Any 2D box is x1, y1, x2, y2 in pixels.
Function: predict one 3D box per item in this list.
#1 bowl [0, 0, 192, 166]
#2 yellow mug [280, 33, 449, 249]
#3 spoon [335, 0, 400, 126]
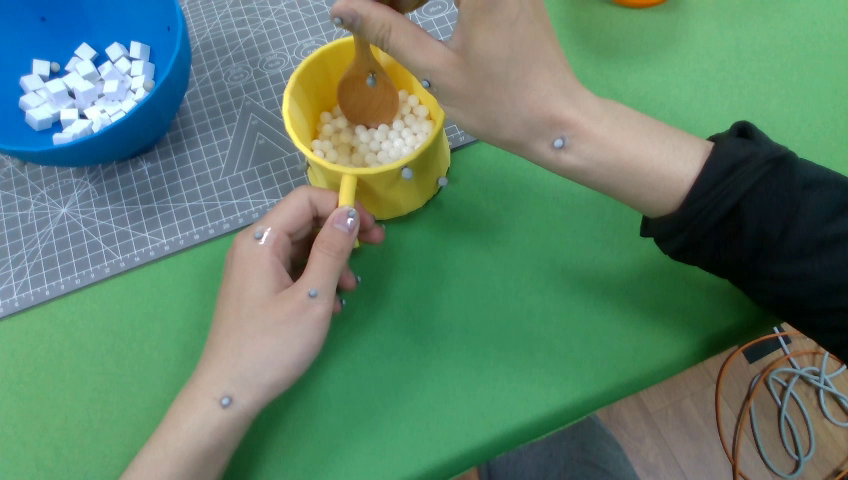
[{"bbox_3d":[-0.219,-0.105,0.403,0.151,0.077,0.150,-1,68,2],"label":"bowl"},{"bbox_3d":[-0.036,-0.057,0.382,0.100,0.064,0.130,6,69,5],"label":"yellow mug"},{"bbox_3d":[-0.032,-0.111,0.320,0.041,0.194,0.021,7,76,-2],"label":"spoon"}]
